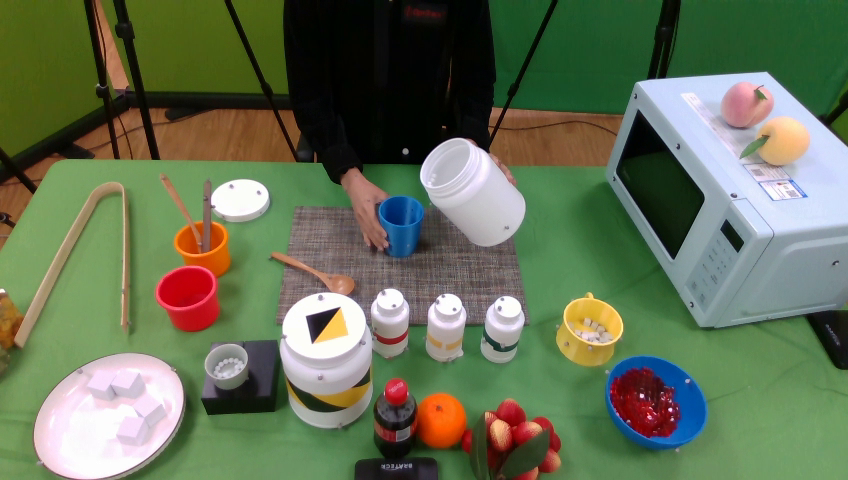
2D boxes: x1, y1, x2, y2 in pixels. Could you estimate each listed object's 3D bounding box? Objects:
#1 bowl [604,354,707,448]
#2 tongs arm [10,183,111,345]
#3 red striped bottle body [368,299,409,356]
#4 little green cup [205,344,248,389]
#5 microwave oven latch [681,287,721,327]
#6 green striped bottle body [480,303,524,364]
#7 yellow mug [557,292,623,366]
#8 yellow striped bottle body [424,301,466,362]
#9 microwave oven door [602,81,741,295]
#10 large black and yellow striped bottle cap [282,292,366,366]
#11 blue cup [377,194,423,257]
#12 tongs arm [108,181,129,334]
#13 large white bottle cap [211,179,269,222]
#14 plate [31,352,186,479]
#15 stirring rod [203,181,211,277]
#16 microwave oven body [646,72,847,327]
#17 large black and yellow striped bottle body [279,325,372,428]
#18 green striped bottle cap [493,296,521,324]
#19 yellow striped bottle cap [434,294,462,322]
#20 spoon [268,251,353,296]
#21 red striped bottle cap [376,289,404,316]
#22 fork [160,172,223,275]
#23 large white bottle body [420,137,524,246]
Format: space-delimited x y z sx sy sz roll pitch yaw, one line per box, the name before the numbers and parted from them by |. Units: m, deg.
bowl | 0.346 0.261 0.937 0.151 0.077 0.150 2 46 -2
tongs arm | -0.658 0.027 1.109 0.028 0.028 0.385 -2 45 2
red striped bottle body | -0.059 0.134 0.998 0.063 0.120 0.062 5 49 -6
little green cup | -0.293 0.191 0.909 0.061 0.039 0.061 1 47 -1
microwave oven latch | 0.494 0.119 1.087 0.030 0.029 0.078 -5 46 -9
green striped bottle body | 0.129 0.147 1.000 0.063 0.120 0.063 2 46 -2
yellow mug | 0.286 0.145 1.051 0.100 0.064 0.130 7 45 4
yellow striped bottle body | 0.035 0.143 0.995 0.063 0.121 0.062 3 46 -3
microwave oven door | 0.456 -0.107 1.162 0.039 0.245 0.353 -7 47 -11
large black and yellow striped bottle cap | -0.138 0.121 0.841 0.115 0.019 0.114 3 47 -3
blue cup | -0.047 -0.021 1.154 0.093 0.101 0.092 3 47 -3
tongs arm | -0.571 0.019 1.123 0.051 0.026 0.382 -10 47 -12
large white bottle cap | -0.380 -0.082 1.250 0.115 0.018 0.114 2 47 -2
plate | -0.459 0.262 0.898 0.209 0.038 0.208 2 46 -2
stirring rod | -0.396 -0.021 1.107 0.014 0.006 0.176 -1 89 -1
microwave oven body | 0.607 -0.089 1.164 0.326 0.261 0.438 -7 46 -10
large black and yellow striped bottle body | -0.143 0.181 0.900 0.131 0.185 0.130 2 46 -2
green striped bottle cap | 0.133 0.111 0.962 0.044 0.020 0.044 2 47 -2
yellow striped bottle cap | 0.038 0.107 0.958 0.044 0.019 0.044 2 44 -2
spoon | -0.212 0.057 1.121 0.193 0.022 0.041 24 74 18
red striped bottle cap | -0.055 0.098 0.958 0.044 0.018 0.044 0 48 0
fork | -0.425 -0.030 1.103 0.028 0.018 0.207 -28 98 -12
large white bottle body | 0.086 -0.087 1.094 0.130 0.186 0.130 -22 47 25
